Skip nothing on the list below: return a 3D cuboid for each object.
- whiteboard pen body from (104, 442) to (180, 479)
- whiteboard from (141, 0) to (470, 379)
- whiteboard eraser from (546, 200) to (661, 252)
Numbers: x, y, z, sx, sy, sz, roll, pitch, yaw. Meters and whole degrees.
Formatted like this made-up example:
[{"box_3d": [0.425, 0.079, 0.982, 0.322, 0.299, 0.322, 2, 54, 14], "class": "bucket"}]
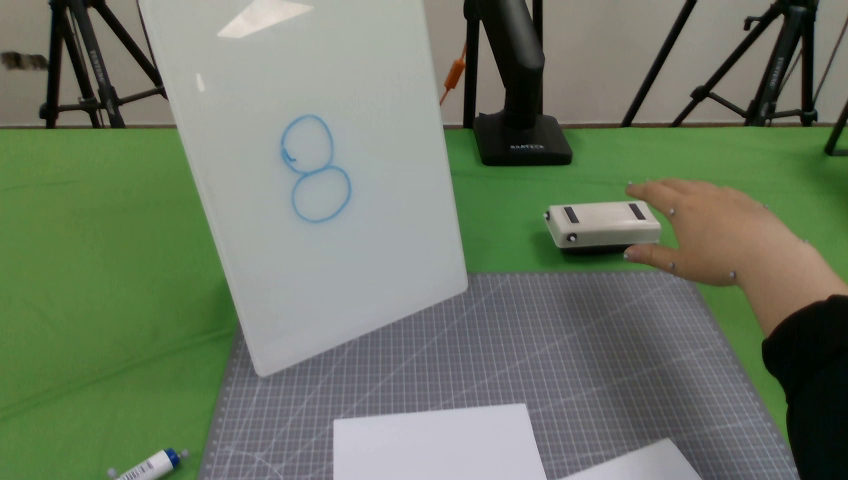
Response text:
[{"box_3d": [-0.233, 0.180, 0.407, 0.141, 0.017, 0.017, -28, 48, -34], "class": "whiteboard pen body"}, {"box_3d": [-0.103, -0.073, 0.553, 0.218, 0.307, 0.142, -20, 24, -24], "class": "whiteboard"}, {"box_3d": [0.194, -0.015, 0.658, 0.113, 0.042, 0.055, -2, 41, -7], "class": "whiteboard eraser"}]
